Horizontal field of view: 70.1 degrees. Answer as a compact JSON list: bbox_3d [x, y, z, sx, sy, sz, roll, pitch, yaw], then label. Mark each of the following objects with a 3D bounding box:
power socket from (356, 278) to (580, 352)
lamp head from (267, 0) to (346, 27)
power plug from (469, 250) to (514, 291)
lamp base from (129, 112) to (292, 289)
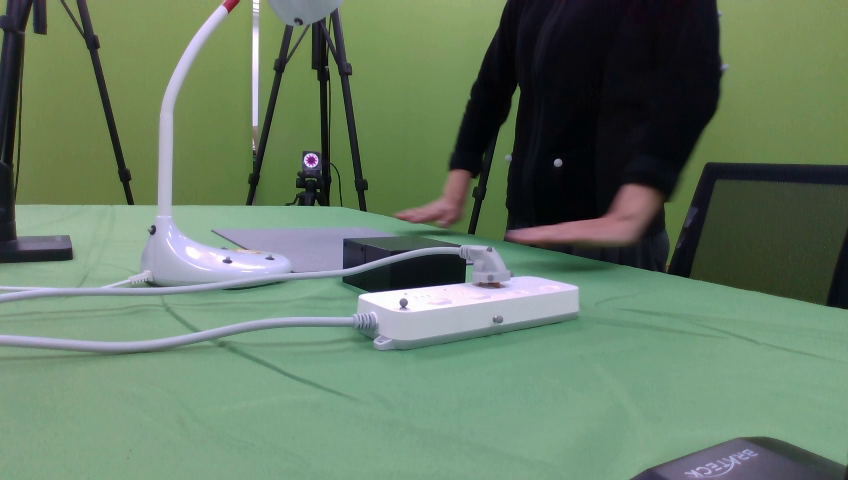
[{"bbox_3d":[0.045,0.059,0.523,0.228,0.032,0.072,-3,8,-36],"label":"power socket"},{"bbox_3d":[-0.157,-0.326,0.701,0.112,0.112,0.123,6,-16,26],"label":"lamp head"},{"bbox_3d":[0.052,0.037,0.529,0.035,0.052,0.073,-10,4,37],"label":"power plug"},{"bbox_3d":[-0.233,-0.045,0.658,0.160,0.180,0.180,7,11,29],"label":"lamp base"}]
